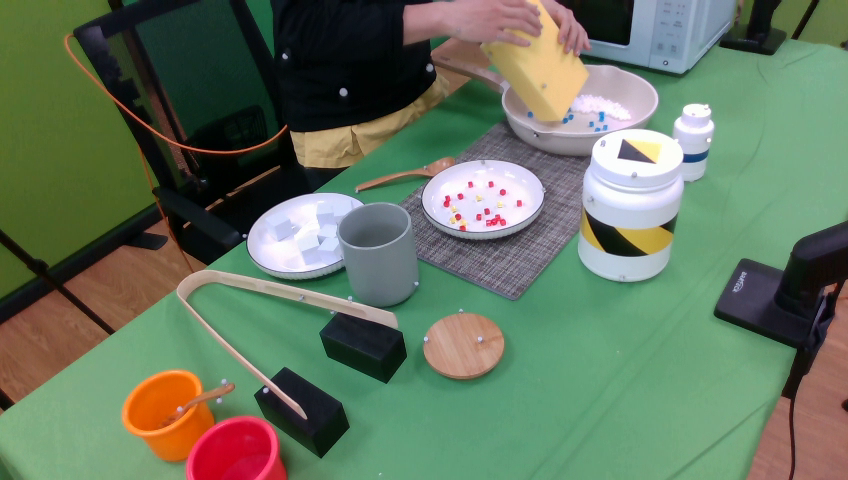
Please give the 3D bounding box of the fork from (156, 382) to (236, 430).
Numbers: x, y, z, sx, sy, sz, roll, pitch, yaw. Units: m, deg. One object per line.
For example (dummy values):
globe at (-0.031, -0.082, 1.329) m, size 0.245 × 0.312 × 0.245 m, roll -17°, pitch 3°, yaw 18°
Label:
fork at (-0.262, 0.189, 0.690) m, size 0.018 × 0.206 × 0.028 m, roll 48°, pitch 43°, yaw -7°

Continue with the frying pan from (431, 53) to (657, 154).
frying pan at (0.215, -0.301, 1.223) m, size 0.484 × 0.103 × 0.308 m, roll 29°, pitch 49°, yaw 25°

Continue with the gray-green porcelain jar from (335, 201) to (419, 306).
gray-green porcelain jar at (-0.064, 0.024, 0.872) m, size 0.106 × 0.127 × 0.105 m, roll -4°, pitch 41°, yaw 4°

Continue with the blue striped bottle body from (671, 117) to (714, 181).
blue striped bottle body at (0.449, -0.165, 1.022) m, size 0.063 × 0.121 × 0.063 m, roll -5°, pitch 41°, yaw 4°

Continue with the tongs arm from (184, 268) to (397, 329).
tongs arm at (-0.202, 0.084, 0.848) m, size 0.382 × 0.027 × 0.051 m, roll 11°, pitch 45°, yaw 35°

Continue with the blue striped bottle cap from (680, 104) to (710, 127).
blue striped bottle cap at (0.443, -0.205, 0.989) m, size 0.044 × 0.021 × 0.044 m, roll -1°, pitch 41°, yaw 2°

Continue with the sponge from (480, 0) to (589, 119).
sponge at (0.211, -0.338, 1.130) m, size 0.060 × 0.208 × 0.118 m, roll 14°, pitch 69°, yaw 53°

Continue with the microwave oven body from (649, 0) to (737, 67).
microwave oven body at (0.475, -0.602, 1.411) m, size 0.438 × 0.261 × 0.327 m, roll 23°, pitch 50°, yaw 32°

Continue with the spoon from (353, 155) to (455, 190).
spoon at (-0.038, -0.123, 1.116) m, size 0.194 × 0.022 × 0.041 m, roll -12°, pitch 58°, yaw -4°

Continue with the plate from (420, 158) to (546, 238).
plate at (0.099, -0.067, 1.017) m, size 0.209 × 0.038 × 0.208 m, roll -4°, pitch 40°, yaw 4°

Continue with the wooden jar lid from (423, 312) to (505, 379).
wooden jar lid at (0.053, 0.142, 0.800) m, size 0.108 × 0.021 × 0.108 m, roll -5°, pitch 39°, yaw 4°

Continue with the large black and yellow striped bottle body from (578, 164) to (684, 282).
large black and yellow striped bottle body at (0.291, -0.046, 0.859) m, size 0.131 × 0.185 × 0.130 m, roll -4°, pitch 41°, yaw 4°

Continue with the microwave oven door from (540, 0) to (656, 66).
microwave oven door at (0.351, -0.540, 1.349) m, size 0.353 × 0.245 × 0.039 m, roll 24°, pitch 50°, yaw 31°

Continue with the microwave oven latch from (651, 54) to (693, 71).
microwave oven latch at (0.531, -0.386, 1.301) m, size 0.078 × 0.029 × 0.030 m, roll 26°, pitch 51°, yaw 33°

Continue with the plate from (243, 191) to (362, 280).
plate at (-0.187, -0.005, 0.992) m, size 0.207 × 0.039 × 0.206 m, roll -3°, pitch 41°, yaw 3°

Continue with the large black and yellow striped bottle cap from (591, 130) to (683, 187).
large black and yellow striped bottle cap at (0.282, -0.111, 0.803) m, size 0.115 × 0.019 × 0.114 m, roll -3°, pitch 41°, yaw 3°

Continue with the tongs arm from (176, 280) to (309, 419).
tongs arm at (-0.254, 0.133, 0.801) m, size 0.028 × 0.028 × 0.384 m, roll -41°, pitch 41°, yaw -23°
